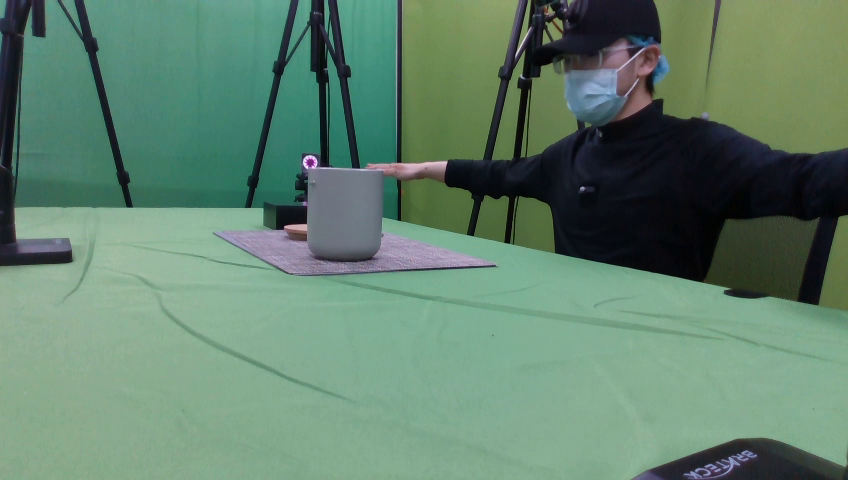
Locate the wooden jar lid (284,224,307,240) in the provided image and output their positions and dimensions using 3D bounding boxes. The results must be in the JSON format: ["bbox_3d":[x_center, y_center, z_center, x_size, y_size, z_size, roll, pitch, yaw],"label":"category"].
[{"bbox_3d":[-0.190,-0.014,1.057,0.108,0.020,0.108,2,6,0],"label":"wooden jar lid"}]

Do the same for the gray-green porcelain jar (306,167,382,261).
[{"bbox_3d":[-0.112,-0.039,0.850,0.106,0.126,0.106,2,7,0],"label":"gray-green porcelain jar"}]
